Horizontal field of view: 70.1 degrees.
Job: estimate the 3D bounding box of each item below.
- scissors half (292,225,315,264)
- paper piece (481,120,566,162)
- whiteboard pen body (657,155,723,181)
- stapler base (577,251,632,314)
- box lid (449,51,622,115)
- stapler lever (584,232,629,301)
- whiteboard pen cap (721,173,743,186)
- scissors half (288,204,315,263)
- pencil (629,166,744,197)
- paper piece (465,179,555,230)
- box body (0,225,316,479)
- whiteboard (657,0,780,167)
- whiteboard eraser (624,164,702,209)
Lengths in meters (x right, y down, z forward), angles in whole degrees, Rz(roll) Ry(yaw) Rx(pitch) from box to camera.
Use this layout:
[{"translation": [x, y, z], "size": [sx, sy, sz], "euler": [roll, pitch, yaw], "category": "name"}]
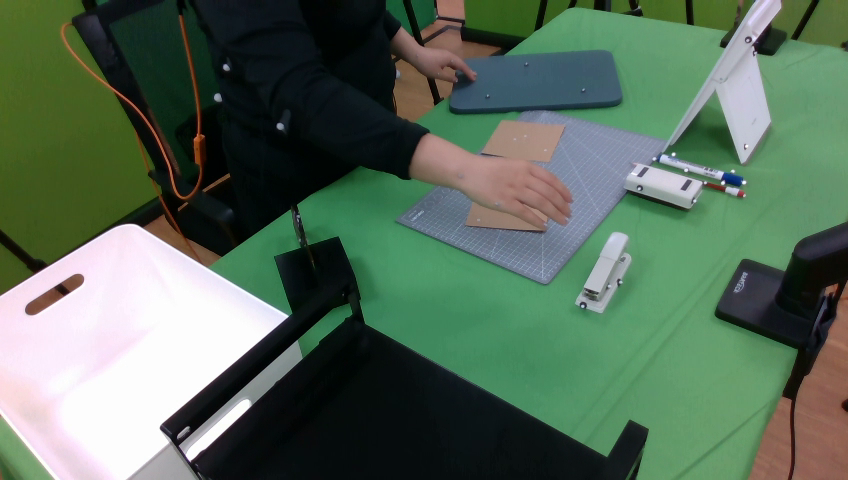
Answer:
[{"translation": [-0.188, 0.007, 0.954], "size": [0.013, 0.040, 0.174], "euler": [-22, 22, -12], "category": "scissors half"}, {"translation": [0.197, -0.198, 1.188], "size": [0.135, 0.004, 0.135], "euler": [10, 44, 22], "category": "paper piece"}, {"translation": [0.475, -0.122, 1.052], "size": [0.139, 0.017, 0.017], "euler": [24, 50, 32], "category": "whiteboard pen body"}, {"translation": [0.264, 0.051, 0.875], "size": [0.041, 0.024, 0.131], "euler": [17, 48, 29], "category": "stapler base"}, {"translation": [0.250, -0.358, 1.370], "size": [0.371, 0.015, 0.262], "euler": [-1, 40, 9], "category": "box lid"}, {"translation": [0.261, 0.034, 0.858], "size": [0.026, 0.040, 0.118], "euler": [16, 46, 29], "category": "stapler lever"}, {"translation": [0.519, -0.103, 1.020], "size": [0.033, 0.018, 0.018], "euler": [23, 49, 30], "category": "whiteboard pen cap"}, {"translation": [-0.191, -0.010, 0.944], "size": [0.013, 0.040, 0.173], "euler": [-17, 38, -15], "category": "scissors half"}, {"translation": [0.447, -0.103, 1.038], "size": [0.192, 0.012, 0.012], "euler": [21, 48, 29], "category": "pencil"}, {"translation": [0.149, -0.062, 1.034], "size": [0.138, 0.009, 0.136], "euler": [5, 38, 16], "category": "paper piece"}, {"translation": [-0.339, 0.162, 0.728], "size": [0.361, 0.161, 0.255], "euler": [23, 48, 31], "category": "box body"}, {"translation": [0.571, -0.272, 1.038], "size": [0.143, 0.306, 0.218], "euler": [37, 54, 17], "category": "whiteboard"}, {"translation": [0.396, -0.086, 1.003], "size": [0.112, 0.042, 0.056], "euler": [23, 47, 31], "category": "whiteboard eraser"}]
